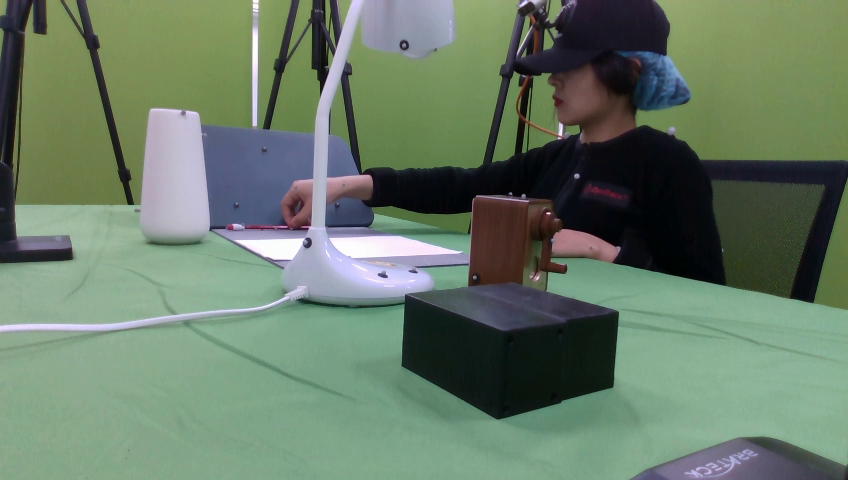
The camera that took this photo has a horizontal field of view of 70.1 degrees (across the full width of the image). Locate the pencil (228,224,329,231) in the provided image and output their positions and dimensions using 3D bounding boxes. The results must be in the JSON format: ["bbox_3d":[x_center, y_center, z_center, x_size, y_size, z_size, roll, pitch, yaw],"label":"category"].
[{"bbox_3d":[-0.266,-0.024,1.125,0.195,0.012,0.012,-1,8,-33],"label":"pencil"}]

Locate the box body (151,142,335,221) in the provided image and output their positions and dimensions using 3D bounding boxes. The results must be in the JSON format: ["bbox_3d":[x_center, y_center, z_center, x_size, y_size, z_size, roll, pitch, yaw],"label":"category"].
[{"bbox_3d":[-0.412,-0.135,1.379,0.366,0.160,0.253,-2,9,-31],"label":"box body"}]

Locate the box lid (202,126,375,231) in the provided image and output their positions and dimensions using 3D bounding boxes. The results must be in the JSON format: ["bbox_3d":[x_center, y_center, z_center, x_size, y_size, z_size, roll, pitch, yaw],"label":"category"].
[{"bbox_3d":[-0.294,-0.128,1.235,0.373,0.262,0.015,-2,-35,-32],"label":"box lid"}]

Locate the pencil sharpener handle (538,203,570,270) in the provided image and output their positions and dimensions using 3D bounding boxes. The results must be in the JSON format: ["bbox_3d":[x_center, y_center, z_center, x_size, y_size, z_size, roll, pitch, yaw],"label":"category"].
[{"bbox_3d":[0.137,-0.003,0.619,0.030,0.067,0.036,8,5,38],"label":"pencil sharpener handle"}]

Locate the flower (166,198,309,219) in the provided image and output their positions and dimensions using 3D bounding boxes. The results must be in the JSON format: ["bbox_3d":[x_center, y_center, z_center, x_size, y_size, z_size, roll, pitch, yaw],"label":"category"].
[{"bbox_3d":[-0.399,-0.061,1.357,0.044,0.038,0.364,-38,-23,31],"label":"flower"}]

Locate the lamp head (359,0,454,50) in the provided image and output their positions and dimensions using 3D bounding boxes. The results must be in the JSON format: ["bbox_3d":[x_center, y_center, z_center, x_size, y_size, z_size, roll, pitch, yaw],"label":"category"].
[{"bbox_3d":[-0.024,-0.283,0.674,0.112,0.123,0.112,-3,38,3],"label":"lamp head"}]

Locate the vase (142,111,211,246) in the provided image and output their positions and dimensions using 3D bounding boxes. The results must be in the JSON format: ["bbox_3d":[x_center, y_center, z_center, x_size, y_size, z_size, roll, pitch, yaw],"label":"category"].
[{"bbox_3d":[-0.378,-0.093,0.920,0.098,0.200,0.098,2,9,0],"label":"vase"}]

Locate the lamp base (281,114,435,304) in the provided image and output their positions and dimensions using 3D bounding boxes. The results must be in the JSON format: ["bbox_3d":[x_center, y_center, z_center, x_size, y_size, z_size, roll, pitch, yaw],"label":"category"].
[{"bbox_3d":[-0.071,-0.034,0.614,0.160,0.180,0.180,6,10,27],"label":"lamp base"}]

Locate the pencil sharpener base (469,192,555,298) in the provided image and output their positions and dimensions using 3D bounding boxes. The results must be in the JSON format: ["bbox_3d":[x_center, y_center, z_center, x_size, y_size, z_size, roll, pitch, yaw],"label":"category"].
[{"bbox_3d":[0.097,0.003,0.652,0.076,0.107,0.061,8,9,38],"label":"pencil sharpener base"}]
